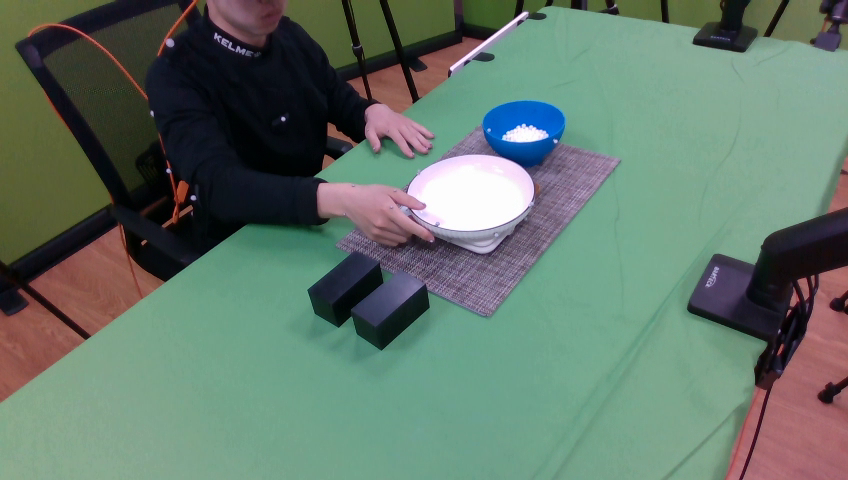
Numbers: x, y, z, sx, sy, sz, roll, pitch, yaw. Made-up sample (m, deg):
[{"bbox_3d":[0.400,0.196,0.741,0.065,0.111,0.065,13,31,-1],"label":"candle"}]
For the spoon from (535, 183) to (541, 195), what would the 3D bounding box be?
[{"bbox_3d":[0.120,-0.108,1.071,0.192,0.022,0.041,22,62,31],"label":"spoon"}]

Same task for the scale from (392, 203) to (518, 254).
[{"bbox_3d":[0.061,-0.051,1.006,0.199,0.032,0.149,22,48,30],"label":"scale"}]

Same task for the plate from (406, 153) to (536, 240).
[{"bbox_3d":[0.075,-0.067,0.973,0.209,0.038,0.208,-4,41,4],"label":"plate"}]

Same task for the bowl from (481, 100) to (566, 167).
[{"bbox_3d":[0.183,-0.187,1.111,0.151,0.077,0.150,-4,41,4],"label":"bowl"}]
